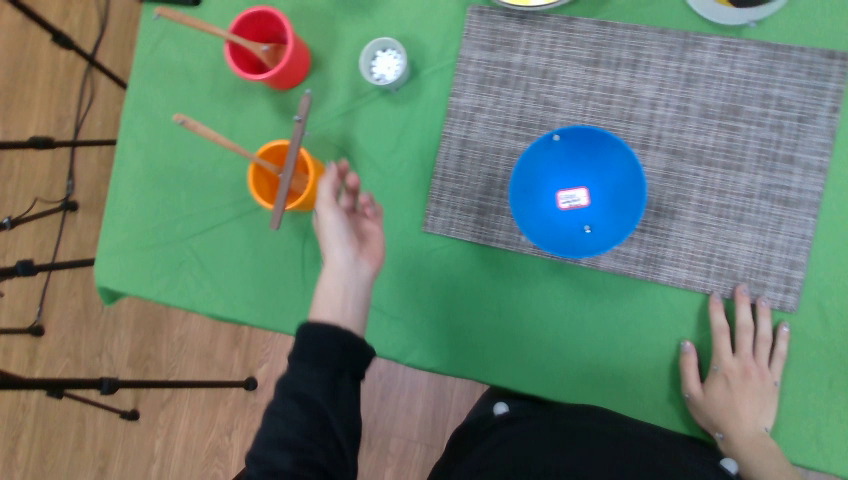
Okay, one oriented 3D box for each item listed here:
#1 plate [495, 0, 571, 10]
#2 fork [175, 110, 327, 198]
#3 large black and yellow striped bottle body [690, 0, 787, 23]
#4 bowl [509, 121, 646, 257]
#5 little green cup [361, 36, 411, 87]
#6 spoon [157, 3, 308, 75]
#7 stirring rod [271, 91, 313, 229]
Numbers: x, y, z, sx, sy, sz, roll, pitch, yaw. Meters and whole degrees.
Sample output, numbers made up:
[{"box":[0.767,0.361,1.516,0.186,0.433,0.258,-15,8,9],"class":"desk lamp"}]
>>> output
[{"box":[0.145,-0.387,0.756,0.208,0.038,0.209,0,88,13],"class":"plate"},{"box":[-0.217,-0.109,0.774,0.209,0.018,0.028,28,99,-31],"class":"fork"},{"box":[0.351,-0.322,0.629,0.130,0.184,0.130,-1,87,14],"class":"large black and yellow striped bottle body"},{"box":[0.178,-0.054,0.711,0.151,0.077,0.151,-1,88,14],"class":"bowl"},{"box":[-0.047,-0.231,0.795,0.061,0.039,0.061,-1,88,14],"class":"little green cup"},{"box":[-0.245,-0.266,0.790,0.195,0.021,0.041,17,95,-30],"class":"spoon"},{"box":[-0.166,-0.100,0.759,0.014,0.006,0.176,14,92,14],"class":"stirring rod"}]
